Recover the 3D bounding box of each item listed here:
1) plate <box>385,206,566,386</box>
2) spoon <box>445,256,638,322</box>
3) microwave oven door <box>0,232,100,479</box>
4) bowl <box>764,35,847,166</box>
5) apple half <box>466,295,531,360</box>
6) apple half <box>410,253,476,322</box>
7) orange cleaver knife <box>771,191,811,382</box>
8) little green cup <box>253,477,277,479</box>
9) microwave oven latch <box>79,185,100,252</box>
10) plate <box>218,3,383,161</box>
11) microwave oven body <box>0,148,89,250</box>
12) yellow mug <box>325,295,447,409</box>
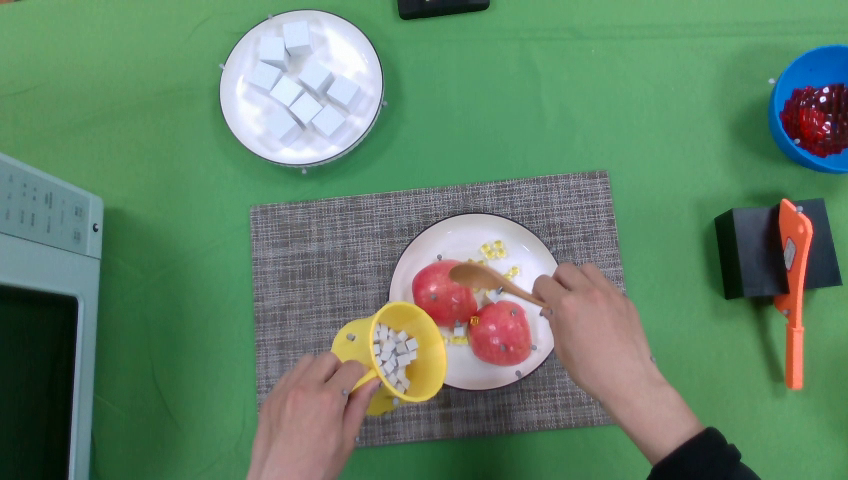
[{"bbox_3d":[0.059,0.065,0.712,0.209,0.038,0.208,0,81,3],"label":"plate"},{"bbox_3d":[0.110,0.051,0.593,0.192,0.042,0.021,18,51,24],"label":"spoon"},{"bbox_3d":[-0.414,0.173,0.602,0.039,0.245,0.354,-3,80,3],"label":"microwave oven door"},{"bbox_3d":[0.464,-0.150,0.708,0.151,0.077,0.151,-1,81,3],"label":"bowl"},{"bbox_3d":[0.087,0.101,0.699,0.081,0.033,0.081,-1,78,4],"label":"apple half"},{"bbox_3d":[0.020,0.054,0.700,0.074,0.053,0.080,-8,81,4],"label":"apple half"},{"bbox_3d":[0.405,0.053,0.676,0.012,0.077,0.212,-5,104,7],"label":"orange cleaver knife"},{"bbox_3d":[-0.185,0.301,0.690,0.061,0.039,0.061,0,82,1],"label":"little green cup"},{"bbox_3d":[-0.414,-0.026,0.737,0.030,0.029,0.079,-1,81,3],"label":"microwave oven latch"},{"bbox_3d":[-0.153,-0.197,0.770,0.207,0.039,0.207,0,81,3],"label":"plate"},{"bbox_3d":[-0.561,0.138,0.621,0.326,0.261,0.440,-3,81,2],"label":"microwave oven body"},{"bbox_3d":[-0.044,0.117,0.591,0.064,0.131,0.100,-28,90,41],"label":"yellow mug"}]
